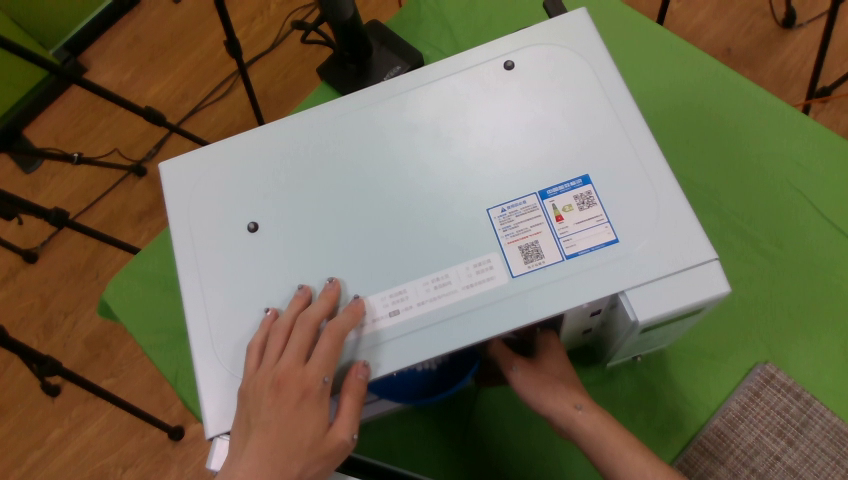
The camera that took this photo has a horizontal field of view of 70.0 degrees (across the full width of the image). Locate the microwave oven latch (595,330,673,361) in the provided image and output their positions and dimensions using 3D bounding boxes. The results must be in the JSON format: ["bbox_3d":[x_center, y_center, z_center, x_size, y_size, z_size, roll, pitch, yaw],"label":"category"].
[{"bbox_3d":[0.234,0.109,0.677,0.079,0.030,0.030,-18,69,3],"label":"microwave oven latch"}]

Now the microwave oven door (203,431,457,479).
[{"bbox_3d":[0.011,0.242,0.554,0.354,0.245,0.039,13,73,13],"label":"microwave oven door"}]

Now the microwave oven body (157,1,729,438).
[{"bbox_3d":[0.007,0.008,0.644,0.442,0.262,0.323,-20,69,2],"label":"microwave oven body"}]

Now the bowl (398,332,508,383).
[{"bbox_3d":[0.012,0.078,0.635,0.151,0.077,0.150,1,70,-1],"label":"bowl"}]
